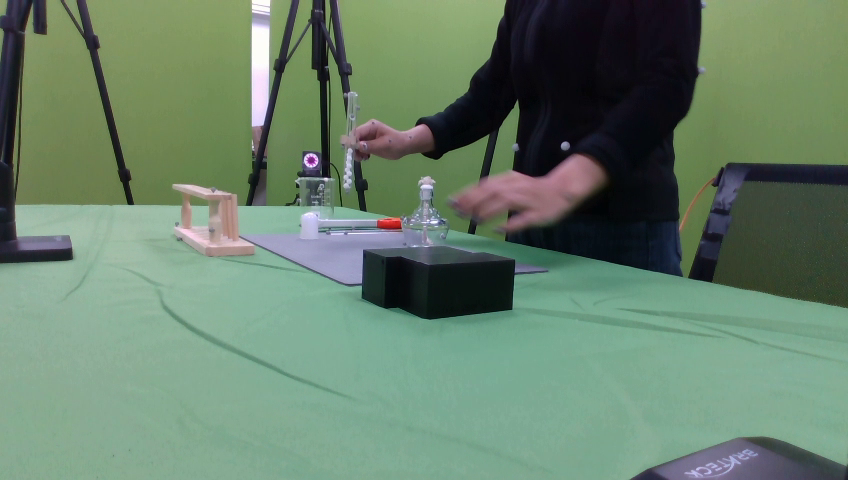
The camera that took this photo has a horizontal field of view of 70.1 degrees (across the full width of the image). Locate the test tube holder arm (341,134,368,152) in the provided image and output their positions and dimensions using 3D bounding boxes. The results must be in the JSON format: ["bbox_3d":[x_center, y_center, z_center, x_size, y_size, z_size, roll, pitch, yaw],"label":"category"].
[{"bbox_3d":[-0.113,-0.159,1.001,0.013,0.015,0.178,9,4,3],"label":"test tube holder arm"}]

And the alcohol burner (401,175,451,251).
[{"bbox_3d":[0.003,-0.042,0.947,0.078,0.119,0.078,1,9,0],"label":"alcohol burner"}]

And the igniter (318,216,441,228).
[{"bbox_3d":[-0.090,-0.035,1.222,0.278,0.025,0.057,-2,-2,-32],"label":"igniter"}]

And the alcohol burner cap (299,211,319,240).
[{"bbox_3d":[-0.195,-0.025,1.025,0.034,0.048,0.034,2,7,0],"label":"alcohol burner cap"}]

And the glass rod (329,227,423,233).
[{"bbox_3d":[-0.087,-0.019,1.148,0.201,0.008,0.008,-3,8,-32],"label":"glass rod"}]

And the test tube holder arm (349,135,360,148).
[{"bbox_3d":[-0.109,-0.155,0.956,0.010,0.015,0.088,8,4,-3],"label":"test tube holder arm"}]

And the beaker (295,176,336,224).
[{"bbox_3d":[-0.224,-0.080,1.247,0.084,0.100,0.073,-1,8,-18],"label":"beaker"}]

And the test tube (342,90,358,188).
[{"bbox_3d":[-0.114,-0.156,0.932,0.017,0.150,0.017,4,-1,0],"label":"test tube"}]

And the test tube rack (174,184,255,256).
[{"bbox_3d":[-0.327,-0.036,0.928,0.067,0.085,0.241,-2,9,-32],"label":"test tube rack"}]
